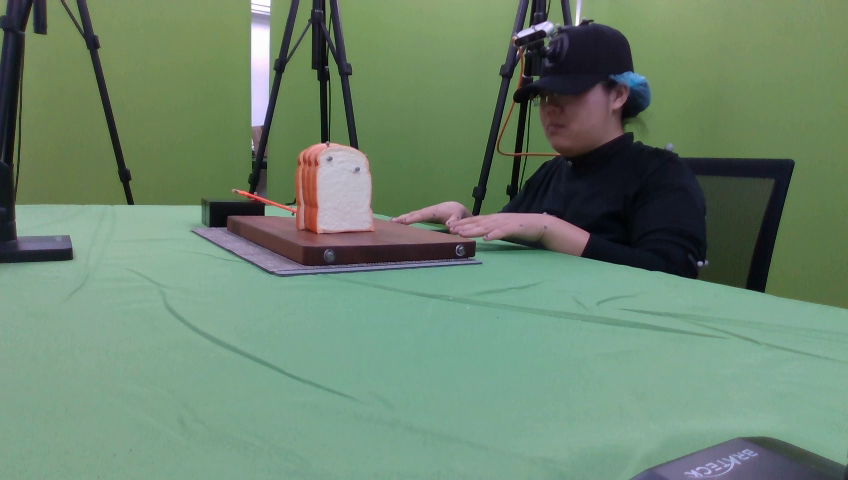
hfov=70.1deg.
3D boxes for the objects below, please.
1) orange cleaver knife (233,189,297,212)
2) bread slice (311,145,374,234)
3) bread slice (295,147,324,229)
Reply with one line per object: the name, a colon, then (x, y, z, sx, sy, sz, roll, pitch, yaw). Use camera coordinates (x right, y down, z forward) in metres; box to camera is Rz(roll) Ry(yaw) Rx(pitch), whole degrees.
orange cleaver knife: (-0.279, -0.066, 1.219, 0.212, 0.012, 0.077, 19, -3, -21)
bread slice: (-0.127, -0.076, 0.919, 0.107, 0.134, 0.018, -8, 8, -41)
bread slice: (-0.157, -0.082, 0.959, 0.105, 0.131, 0.019, -1, -2, -43)
